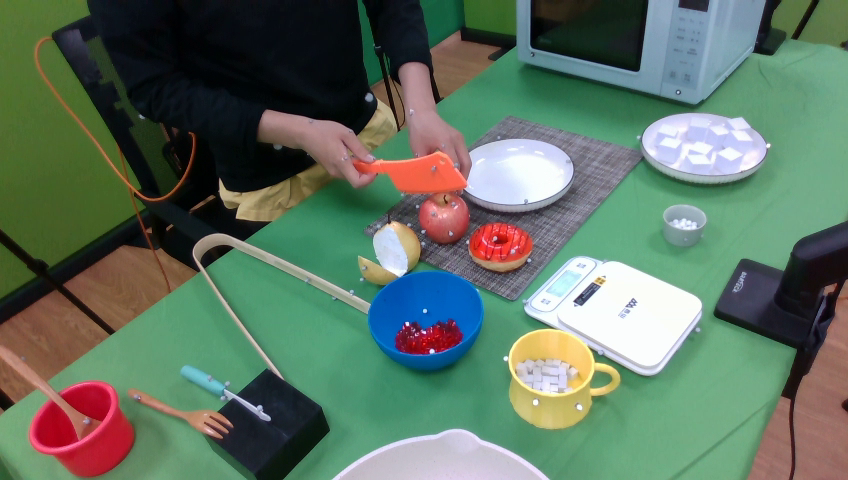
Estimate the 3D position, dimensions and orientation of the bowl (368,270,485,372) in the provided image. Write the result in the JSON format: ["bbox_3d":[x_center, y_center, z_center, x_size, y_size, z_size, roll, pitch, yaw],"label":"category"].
[{"bbox_3d":[0.007,0.119,0.791,0.151,0.077,0.150,-5,39,4],"label":"bowl"}]

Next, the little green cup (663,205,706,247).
[{"bbox_3d":[0.396,-0.020,0.926,0.061,0.039,0.061,-4,40,4],"label":"little green cup"}]

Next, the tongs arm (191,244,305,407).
[{"bbox_3d":[-0.268,0.113,0.884,0.028,0.028,0.384,-37,48,-17],"label":"tongs arm"}]

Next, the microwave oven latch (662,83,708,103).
[{"bbox_3d":[0.517,-0.296,1.204,0.078,0.029,0.030,27,52,35],"label":"microwave oven latch"}]

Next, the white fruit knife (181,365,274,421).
[{"bbox_3d":[-0.245,0.188,0.747,0.205,0.027,0.016,9,41,41],"label":"white fruit knife"}]

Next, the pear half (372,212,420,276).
[{"bbox_3d":[-0.039,-0.004,0.917,0.076,0.110,0.056,21,46,26],"label":"pear half"}]

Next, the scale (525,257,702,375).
[{"bbox_3d":[0.254,0.091,0.821,0.199,0.032,0.149,28,51,35],"label":"scale"}]

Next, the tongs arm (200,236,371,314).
[{"bbox_3d":[-0.209,0.063,0.924,0.381,0.027,0.051,23,55,32],"label":"tongs arm"}]

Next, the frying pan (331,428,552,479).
[{"bbox_3d":[-0.089,0.306,0.564,0.487,0.103,0.306,10,41,7],"label":"frying pan"}]

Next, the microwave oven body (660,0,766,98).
[{"bbox_3d":[0.472,-0.513,1.317,0.438,0.261,0.327,26,51,34],"label":"microwave oven body"}]

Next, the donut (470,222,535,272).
[{"bbox_3d":[0.119,0.009,0.923,0.099,0.048,0.098,-3,39,3],"label":"donut"}]

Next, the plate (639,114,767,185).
[{"bbox_3d":[0.489,-0.157,1.074,0.207,0.039,0.206,-4,40,4],"label":"plate"}]

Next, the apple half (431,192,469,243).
[{"bbox_3d":[0.045,-0.038,0.967,0.053,0.075,0.080,-14,37,-11],"label":"apple half"}]

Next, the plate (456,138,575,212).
[{"bbox_3d":[0.159,-0.111,1.063,0.209,0.038,0.208,-4,40,4],"label":"plate"}]

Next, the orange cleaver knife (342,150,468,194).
[{"bbox_3d":[-0.032,-0.098,0.906,0.210,0.077,0.012,3,45,34],"label":"orange cleaver knife"}]

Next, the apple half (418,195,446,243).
[{"bbox_3d":[0.008,-0.028,0.959,0.033,0.081,0.080,-14,41,-12],"label":"apple half"}]

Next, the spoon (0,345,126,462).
[{"bbox_3d":[-0.434,0.192,0.720,0.194,0.021,0.042,47,53,-7],"label":"spoon"}]

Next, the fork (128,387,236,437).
[{"bbox_3d":[-0.305,0.207,0.744,0.206,0.019,0.028,3,41,36],"label":"fork"}]

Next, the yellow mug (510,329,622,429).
[{"bbox_3d":[0.168,0.164,0.721,0.130,0.064,0.099,0,40,8],"label":"yellow mug"}]

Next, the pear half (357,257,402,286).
[{"bbox_3d":[-0.072,0.050,0.894,0.070,0.088,0.031,17,86,26],"label":"pear half"}]

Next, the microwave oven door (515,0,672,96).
[{"bbox_3d":[0.343,-0.454,1.259,0.353,0.245,0.039,26,51,33],"label":"microwave oven door"}]
